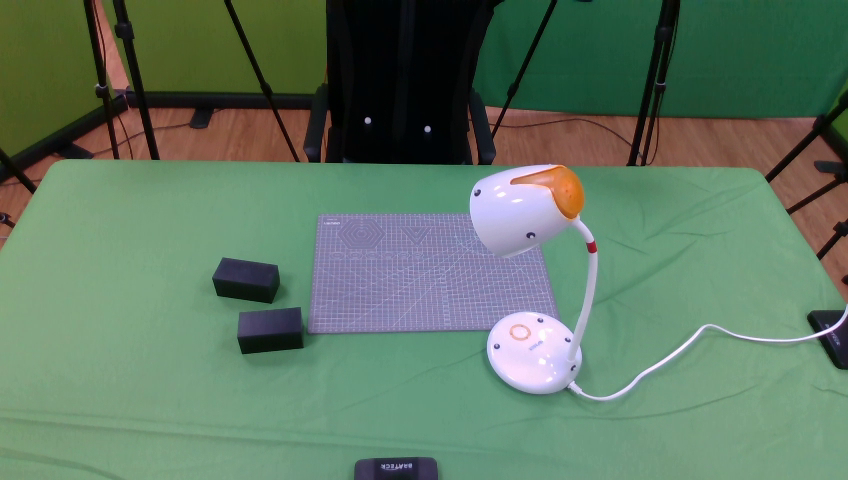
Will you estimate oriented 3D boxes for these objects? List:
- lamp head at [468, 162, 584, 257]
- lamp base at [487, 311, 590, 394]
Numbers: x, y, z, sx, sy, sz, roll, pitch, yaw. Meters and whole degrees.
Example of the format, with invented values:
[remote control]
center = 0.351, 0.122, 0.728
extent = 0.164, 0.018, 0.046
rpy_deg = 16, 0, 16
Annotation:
[lamp head]
center = 0.135, -0.043, 0.746
extent = 0.122, 0.113, 0.112
rpy_deg = -15, 30, 42
[lamp base]
center = 0.199, 0.142, 0.962
extent = 0.178, 0.181, 0.160
rpy_deg = 38, 56, 24
